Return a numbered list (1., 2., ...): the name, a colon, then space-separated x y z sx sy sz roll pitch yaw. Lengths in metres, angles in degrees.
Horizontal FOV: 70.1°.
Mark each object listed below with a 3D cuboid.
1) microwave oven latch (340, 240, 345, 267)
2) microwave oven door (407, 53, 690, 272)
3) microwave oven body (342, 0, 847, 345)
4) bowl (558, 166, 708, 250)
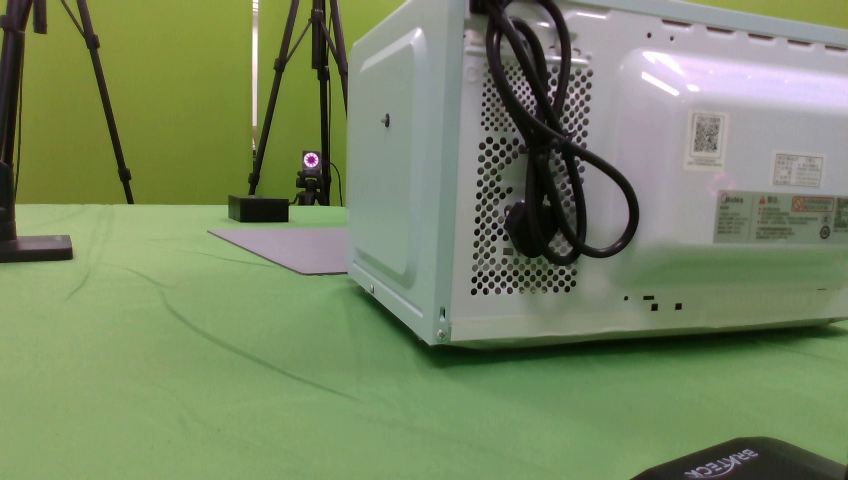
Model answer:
1. microwave oven latch: -0.052 0.016 0.662 0.079 0.029 0.030 1 7 -18
2. microwave oven door: 0.159 -0.086 0.730 0.357 0.243 0.039 0 7 -17
3. microwave oven body: 0.169 -0.060 0.573 0.444 0.260 0.324 1 7 -20
4. bowl: 0.214 -0.035 0.640 0.151 0.077 0.151 2 11 0
